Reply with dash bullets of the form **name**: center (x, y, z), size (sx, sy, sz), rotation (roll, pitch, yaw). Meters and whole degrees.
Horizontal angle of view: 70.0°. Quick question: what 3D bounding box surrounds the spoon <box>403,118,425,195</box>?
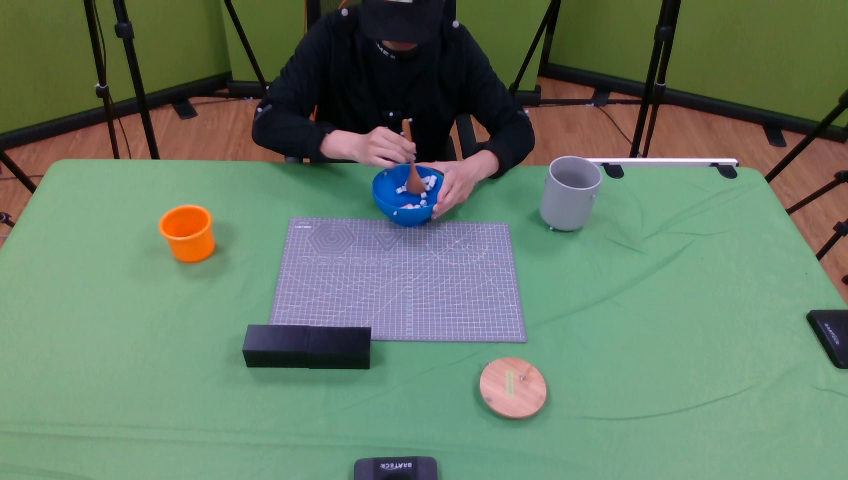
- **spoon**: center (-0.026, -0.160, 1.192), size (0.041, 0.195, 0.021), rotation (1, 44, 10)

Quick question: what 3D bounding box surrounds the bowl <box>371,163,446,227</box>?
- **bowl**: center (-0.034, -0.081, 1.231), size (0.151, 0.077, 0.150), rotation (3, 43, -3)

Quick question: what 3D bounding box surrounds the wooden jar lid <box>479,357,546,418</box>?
- **wooden jar lid**: center (0.142, 0.240, 0.979), size (0.108, 0.021, 0.107), rotation (1, 46, -1)

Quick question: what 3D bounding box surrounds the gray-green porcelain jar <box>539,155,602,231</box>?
- **gray-green porcelain jar**: center (0.294, -0.091, 1.235), size (0.106, 0.127, 0.105), rotation (2, 46, -2)
